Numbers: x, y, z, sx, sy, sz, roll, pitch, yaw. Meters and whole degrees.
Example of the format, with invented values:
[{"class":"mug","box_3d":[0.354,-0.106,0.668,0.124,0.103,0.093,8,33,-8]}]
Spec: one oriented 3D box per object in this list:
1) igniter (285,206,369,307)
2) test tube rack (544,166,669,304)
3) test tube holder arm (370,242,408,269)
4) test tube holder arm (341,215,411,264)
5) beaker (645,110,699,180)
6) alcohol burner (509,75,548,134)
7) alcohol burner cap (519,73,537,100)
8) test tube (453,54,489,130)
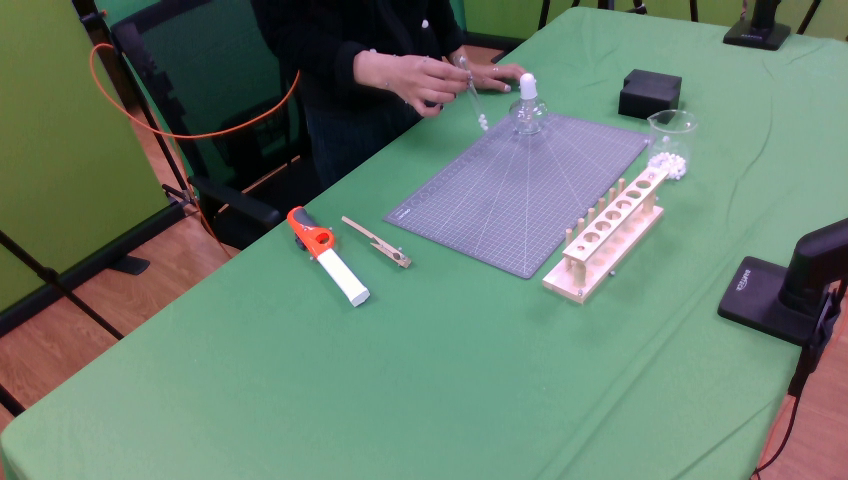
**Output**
[{"class":"igniter","box_3d":[-0.166,0.018,0.986,0.057,0.025,0.274,-34,45,-12]},{"class":"test tube rack","box_3d":[0.274,-0.018,0.903,0.066,0.085,0.243,26,51,35]},{"class":"test tube holder arm","box_3d":[-0.057,0.021,0.971,0.087,0.015,0.010,34,86,40]},{"class":"test tube holder arm","box_3d":[-0.083,-0.002,0.999,0.177,0.015,0.013,34,86,40]},{"class":"beaker","box_3d":[0.417,-0.160,1.032,0.083,0.101,0.074,25,51,35]},{"class":"alcohol burner","box_3d":[0.204,-0.270,1.186,0.078,0.119,0.077,-5,42,5]},{"class":"alcohol burner cap","box_3d":[0.198,-0.298,1.163,0.034,0.048,0.033,-9,37,8]},{"class":"test tube","box_3d":[0.079,-0.241,1.001,0.017,0.151,0.017,-15,44,16]}]
